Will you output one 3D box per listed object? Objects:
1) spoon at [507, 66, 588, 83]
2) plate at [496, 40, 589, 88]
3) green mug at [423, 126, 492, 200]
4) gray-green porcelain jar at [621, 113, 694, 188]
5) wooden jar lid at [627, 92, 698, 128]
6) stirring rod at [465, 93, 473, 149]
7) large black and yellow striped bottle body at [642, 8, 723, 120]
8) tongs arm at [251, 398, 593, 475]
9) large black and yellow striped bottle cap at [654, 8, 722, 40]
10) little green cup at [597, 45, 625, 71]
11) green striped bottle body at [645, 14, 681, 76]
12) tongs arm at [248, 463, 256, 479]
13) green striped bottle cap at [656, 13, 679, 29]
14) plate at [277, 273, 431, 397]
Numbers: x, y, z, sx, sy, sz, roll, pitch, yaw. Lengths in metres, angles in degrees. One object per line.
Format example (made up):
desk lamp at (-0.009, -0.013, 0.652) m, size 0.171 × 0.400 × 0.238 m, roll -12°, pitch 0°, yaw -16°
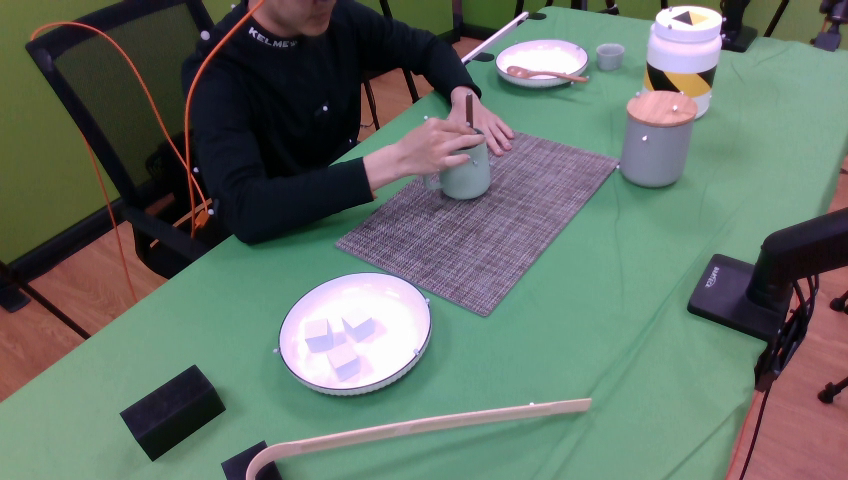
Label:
spoon at (0.265, -0.357, 1.311) m, size 0.192 × 0.022 × 0.042 m, roll 18°, pitch 47°, yaw 38°
plate at (0.269, -0.398, 1.381) m, size 0.209 × 0.038 × 0.208 m, roll -4°, pitch 41°, yaw 4°
green mug at (0.055, -0.125, 1.039) m, size 0.126 × 0.105 × 0.091 m, roll -25°, pitch 44°, yaw -19°
gray-green porcelain jar at (0.390, -0.161, 1.020) m, size 0.106 × 0.127 × 0.105 m, roll -4°, pitch 41°, yaw 4°
wooden jar lid at (0.384, -0.207, 0.980) m, size 0.108 × 0.021 × 0.108 m, roll -6°, pitch 39°, yaw 5°
stirring rod at (0.076, -0.159, 1.008) m, size 0.005 × 0.177 × 0.014 m, roll 23°, pitch 43°, yaw 34°
large black and yellow striped bottle body at (0.493, -0.334, 1.161) m, size 0.131 × 0.185 × 0.130 m, roll -4°, pitch 41°, yaw 4°
tongs arm at (0.008, 0.212, 0.675) m, size 0.389 × 0.028 × 0.028 m, roll -5°, pitch 46°, yaw -11°
large black and yellow striped bottle cap at (0.483, -0.397, 1.108) m, size 0.115 × 0.019 × 0.114 m, roll -3°, pitch 41°, yaw 3°
little green cup at (0.422, -0.413, 1.375) m, size 0.061 × 0.039 × 0.061 m, roll -3°, pitch 41°, yaw 3°
green striped bottle body at (0.520, -0.424, 1.312) m, size 0.063 × 0.120 × 0.063 m, roll -4°, pitch 41°, yaw 4°
tongs arm at (0.012, 0.262, 0.615) m, size 0.385 × 0.026 × 0.050 m, roll 2°, pitch 42°, yaw -2°
green striped bottle cap at (0.515, -0.463, 1.278) m, size 0.044 × 0.020 × 0.044 m, roll -6°, pitch 42°, yaw 6°
plate at (-0.091, 0.129, 0.821) m, size 0.207 × 0.039 × 0.206 m, roll -4°, pitch 40°, yaw 4°
